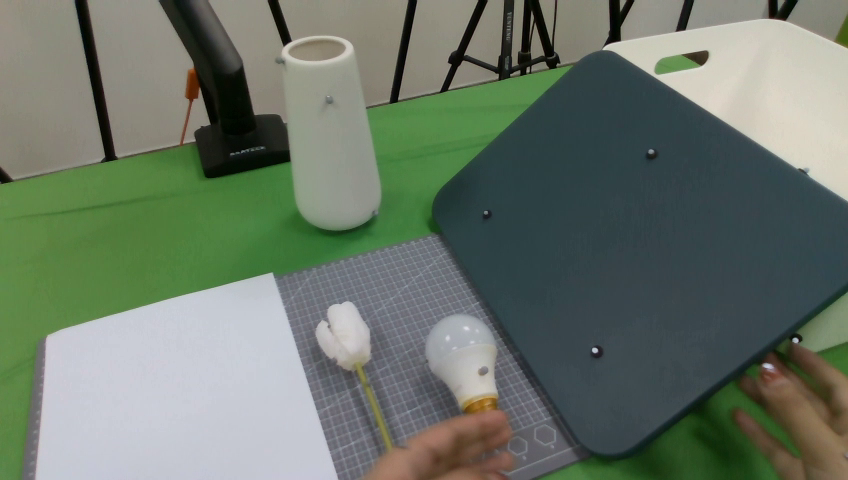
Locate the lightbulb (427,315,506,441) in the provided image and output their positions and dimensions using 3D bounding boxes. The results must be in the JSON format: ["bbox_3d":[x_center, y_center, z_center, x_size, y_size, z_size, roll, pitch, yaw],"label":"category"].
[{"bbox_3d":[0.039,0.111,0.495,0.059,0.060,0.106,-12,56,-12],"label":"lightbulb"}]

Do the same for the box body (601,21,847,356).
[{"bbox_3d":[0.368,-0.076,0.626,0.255,0.162,0.359,-14,41,-14],"label":"box body"}]

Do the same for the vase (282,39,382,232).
[{"bbox_3d":[-0.100,-0.107,0.650,0.098,0.202,0.097,-2,39,2],"label":"vase"}]

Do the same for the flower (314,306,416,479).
[{"bbox_3d":[-0.007,0.183,0.440,0.044,0.038,0.357,-38,50,4],"label":"flower"}]

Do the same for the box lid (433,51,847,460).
[{"bbox_3d":[0.163,-0.017,0.553,0.263,0.015,0.367,-43,43,11],"label":"box lid"}]
